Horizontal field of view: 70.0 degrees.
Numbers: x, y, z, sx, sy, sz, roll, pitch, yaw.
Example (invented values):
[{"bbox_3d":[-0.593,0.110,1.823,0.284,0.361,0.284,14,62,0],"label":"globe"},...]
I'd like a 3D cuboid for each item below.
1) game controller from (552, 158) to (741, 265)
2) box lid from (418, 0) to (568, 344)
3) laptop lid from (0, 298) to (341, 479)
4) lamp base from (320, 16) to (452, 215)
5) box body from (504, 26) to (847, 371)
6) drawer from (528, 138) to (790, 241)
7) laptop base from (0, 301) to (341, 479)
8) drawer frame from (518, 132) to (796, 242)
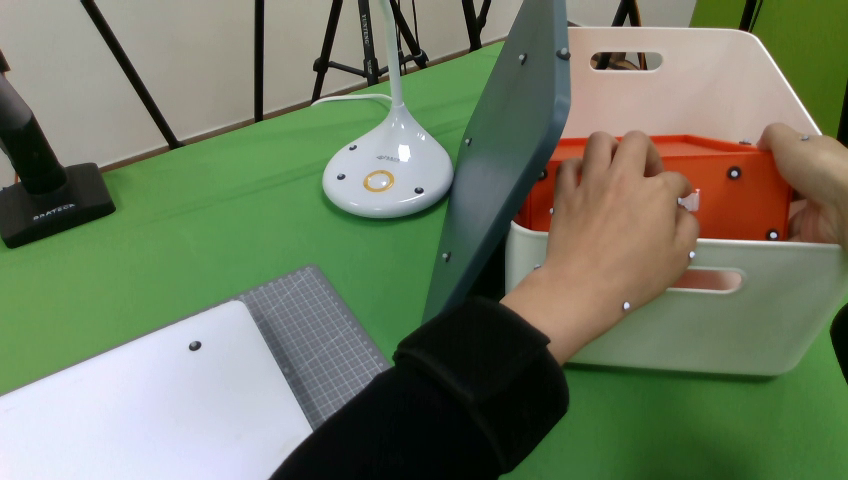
[{"bbox_3d":[0.189,-0.031,0.530,0.155,0.052,0.096,-5,44,2],"label":"game controller"},{"bbox_3d":[0.068,-0.102,0.582,0.015,0.264,0.368,20,42,-6],"label":"box lid"},{"bbox_3d":[-0.262,0.181,0.432,0.357,0.013,0.239,-23,47,-21],"label":"laptop lid"},{"bbox_3d":[-0.049,-0.149,0.694,0.160,0.182,0.177,2,39,7],"label":"lamp base"},{"bbox_3d":[0.207,-0.059,0.587,0.254,0.162,0.361,2,41,7],"label":"box body"},{"bbox_3d":[0.188,-0.055,0.567,0.194,0.073,0.211,-2,14,5],"label":"drawer"},{"bbox_3d":[-0.262,0.189,0.442,0.355,0.023,0.233,-24,48,-22],"label":"laptop base"},{"bbox_3d":[0.188,-0.055,0.568,0.201,0.083,0.213,-1,12,4],"label":"drawer frame"}]
